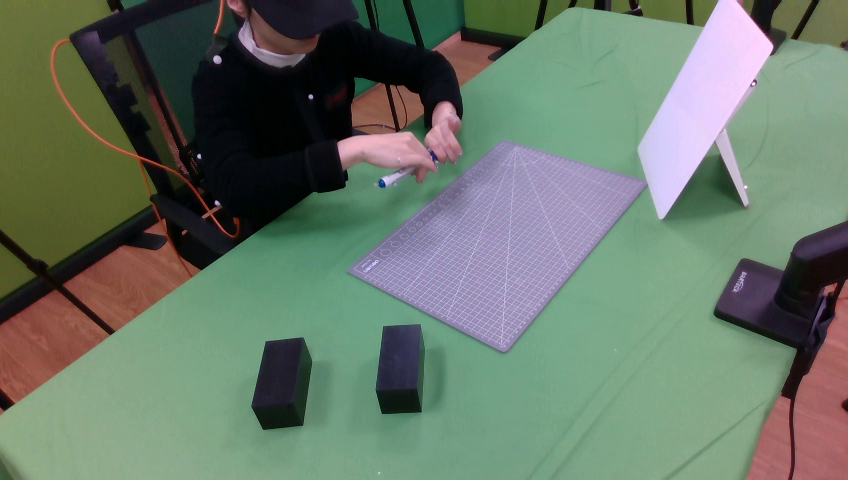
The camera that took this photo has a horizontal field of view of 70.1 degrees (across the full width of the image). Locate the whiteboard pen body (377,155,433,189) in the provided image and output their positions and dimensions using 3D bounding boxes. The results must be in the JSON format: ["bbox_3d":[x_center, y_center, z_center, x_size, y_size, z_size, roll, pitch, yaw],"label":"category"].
[{"bbox_3d":[-0.022,-0.120,1.014,0.017,0.017,0.141,29,47,35],"label":"whiteboard pen body"}]

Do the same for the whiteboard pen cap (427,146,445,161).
[{"bbox_3d":[0.020,-0.148,1.043,0.018,0.018,0.033,28,47,34],"label":"whiteboard pen cap"}]

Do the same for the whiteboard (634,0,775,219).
[{"bbox_3d":[0.485,-0.193,0.957,0.144,0.305,0.216,14,41,-4],"label":"whiteboard"}]
